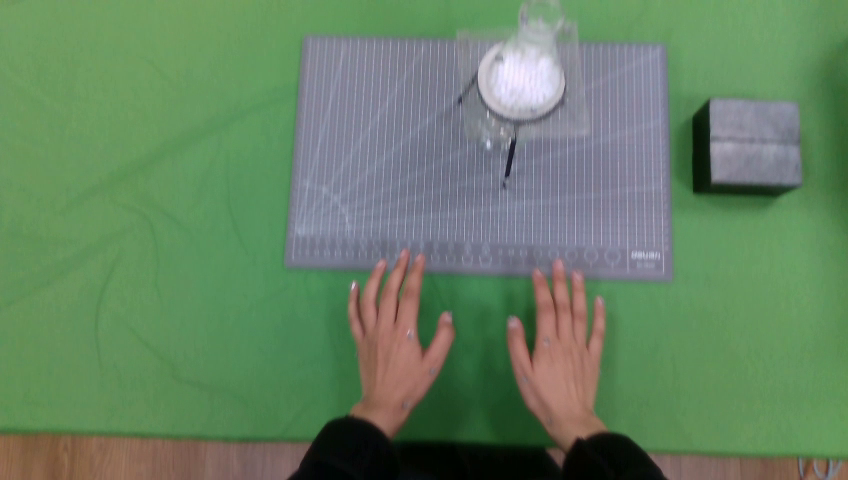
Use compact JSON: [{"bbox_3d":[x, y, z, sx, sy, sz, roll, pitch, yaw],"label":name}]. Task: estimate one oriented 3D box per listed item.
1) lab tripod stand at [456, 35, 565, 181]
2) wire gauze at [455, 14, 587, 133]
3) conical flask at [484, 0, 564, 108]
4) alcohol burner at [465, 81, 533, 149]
[{"bbox_3d":[0.100,-0.154,0.665,0.148,0.132,0.147,0,78,1],"label":"lab tripod stand"},{"bbox_3d":[0.096,-0.164,0.600,0.125,0.011,0.121,-2,82,-2],"label":"wire gauze"},{"bbox_3d":[0.095,-0.175,0.542,0.075,0.122,0.075,0,79,1],"label":"conical flask"},{"bbox_3d":[0.085,-0.146,0.674,0.078,0.119,0.077,0,79,0],"label":"alcohol burner"}]
